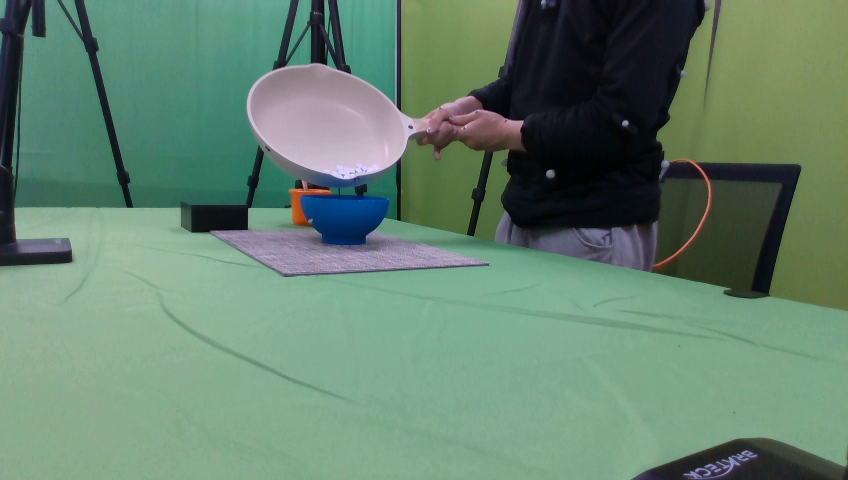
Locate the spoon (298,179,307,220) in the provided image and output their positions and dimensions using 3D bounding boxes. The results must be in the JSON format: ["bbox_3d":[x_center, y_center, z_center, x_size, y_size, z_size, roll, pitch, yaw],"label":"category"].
[{"bbox_3d":[-0.264,-0.114,1.338,0.042,0.193,0.021,0,-37,-21],"label":"spoon"}]

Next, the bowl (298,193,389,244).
[{"bbox_3d":[-0.135,-0.036,1.018,0.151,0.077,0.151,2,7,0],"label":"bowl"}]

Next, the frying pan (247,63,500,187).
[{"bbox_3d":[-0.080,-0.215,1.151,0.490,0.305,0.102,-4,-35,-16],"label":"frying pan"}]
